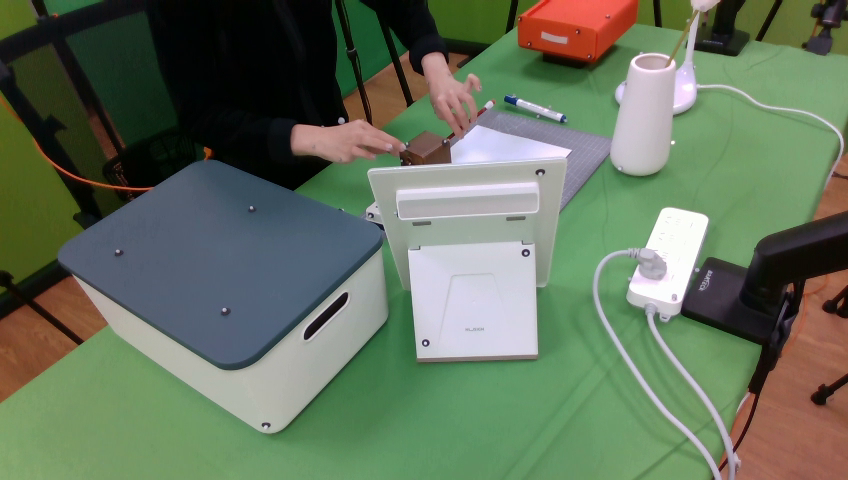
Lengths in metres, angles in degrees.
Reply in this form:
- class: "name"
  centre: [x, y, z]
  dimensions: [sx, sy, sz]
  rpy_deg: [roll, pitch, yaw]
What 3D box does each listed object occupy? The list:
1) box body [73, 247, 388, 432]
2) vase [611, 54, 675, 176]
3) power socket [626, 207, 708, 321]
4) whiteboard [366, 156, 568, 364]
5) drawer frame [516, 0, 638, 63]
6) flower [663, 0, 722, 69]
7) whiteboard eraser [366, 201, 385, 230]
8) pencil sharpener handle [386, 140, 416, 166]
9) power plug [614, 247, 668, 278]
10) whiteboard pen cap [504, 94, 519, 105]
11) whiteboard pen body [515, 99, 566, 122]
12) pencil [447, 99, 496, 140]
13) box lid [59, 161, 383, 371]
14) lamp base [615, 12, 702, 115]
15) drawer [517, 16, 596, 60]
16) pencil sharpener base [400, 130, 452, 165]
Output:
- class: "box body"
  centre: [-0.255, 0.065, 0.827]
  dimensions: [0.361, 0.161, 0.255]
  rpy_deg: [21, 48, 29]
- class: "vase"
  centre: [0.377, -0.209, 1.031]
  dimensions: [0.098, 0.201, 0.097]
  rpy_deg: [-4, 40, 3]
- class: "power socket"
  centre: [0.359, 0.025, 0.886]
  dimensions: [0.072, 0.033, 0.227]
  rpy_deg: [16, 46, 26]
- class: "whiteboard"
  centre: [0.059, 0.050, 0.738]
  dimensions: [0.217, 0.307, 0.143]
  rpy_deg: [-2, 60, 6]
- class: "drawer frame"
  centre: [0.355, -0.508, 1.410]
  dimensions: [0.200, 0.083, 0.214]
  rpy_deg: [23, 51, 32]
- class: "flower"
  centre: [0.379, -0.261, 0.965]
  dimensions: [0.044, 0.362, 0.038]
  rpy_deg: [21, 53, 5]
- class: "whiteboard eraser"
  centre: [-0.038, -0.038, 1.006]
  dimensions: [0.112, 0.042, 0.055]
  rpy_deg: [16, 47, 25]
- class: "pencil sharpener handle"
  centre: [-0.039, -0.130, 0.998]
  dimensions: [0.031, 0.068, 0.035]
  rpy_deg: [-39, 29, -30]
- class: "power plug"
  centre: [0.306, 0.031, 0.851]
  dimensions: [0.072, 0.053, 0.035]
  rpy_deg: [24, 49, 33]
- class: "whiteboard pen cap"
  centre: [0.190, -0.299, 1.292]
  dimensions: [0.033, 0.018, 0.018]
  rpy_deg: [30, 52, 28]
- class: "whiteboard pen body"
  centre: [0.234, -0.274, 1.262]
  dimensions: [0.139, 0.017, 0.017]
  rpy_deg: [28, 51, 29]
- class: "pencil"
  centre: [0.070, -0.203, 1.087]
  dimensions: [0.012, 0.012, 0.194]
  rpy_deg: [26, 54, 33]
- class: "box lid"
  centre: [-0.262, 0.010, 0.777]
  dimensions: [0.369, 0.015, 0.264]
  rpy_deg: [21, 48, 29]
- class: "lamp base"
  centre: [0.484, -0.364, 1.211]
  dimensions: [0.180, 0.181, 0.159]
  rpy_deg: [-15, 41, -14]
- class: "drawer"
  centre: [0.352, -0.506, 1.405]
  dimensions: [0.193, 0.073, 0.212]
  rpy_deg: [23, 49, 32]
- class: "pencil sharpener base"
  centre: [0.004, -0.123, 1.049]
  dimensions: [0.061, 0.107, 0.077]
  rpy_deg: [28, 52, 34]
